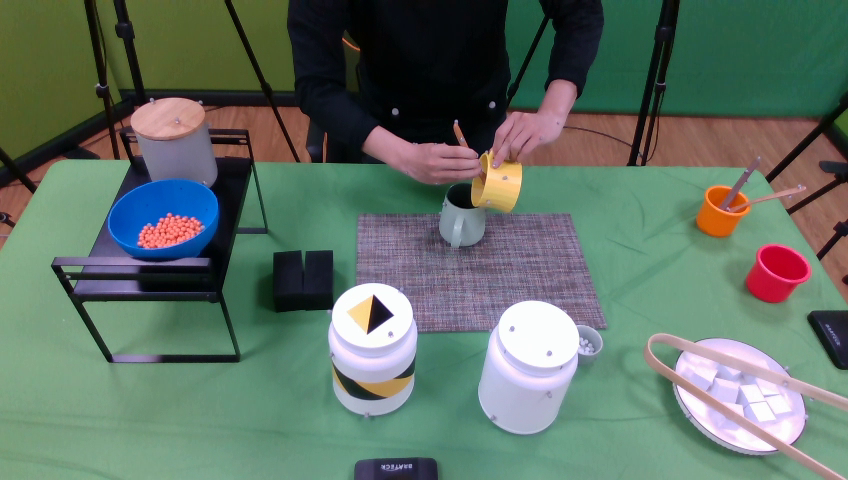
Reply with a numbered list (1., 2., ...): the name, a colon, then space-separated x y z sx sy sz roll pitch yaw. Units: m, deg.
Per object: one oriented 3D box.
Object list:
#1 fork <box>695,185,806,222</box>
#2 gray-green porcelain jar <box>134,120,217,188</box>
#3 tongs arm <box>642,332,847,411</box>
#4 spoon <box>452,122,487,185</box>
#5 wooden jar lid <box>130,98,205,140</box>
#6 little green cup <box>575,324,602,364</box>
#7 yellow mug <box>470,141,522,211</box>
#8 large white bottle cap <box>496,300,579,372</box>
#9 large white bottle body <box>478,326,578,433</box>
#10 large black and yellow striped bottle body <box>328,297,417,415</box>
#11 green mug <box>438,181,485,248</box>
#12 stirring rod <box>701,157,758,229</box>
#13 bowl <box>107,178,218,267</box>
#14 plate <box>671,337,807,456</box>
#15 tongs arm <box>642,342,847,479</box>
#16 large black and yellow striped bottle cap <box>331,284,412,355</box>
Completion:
1. fork: 0.658 -0.074 1.230 0.207 0.019 0.028 -23 36 37
2. gray-green porcelain jar: -0.397 -0.141 0.979 0.106 0.127 0.105 2 47 -2
3. tongs arm: 0.546 0.227 0.968 0.384 0.026 0.050 22 52 13
4. spoon: 0.089 -0.132 1.053 0.021 0.195 0.041 -1 53 37
5. wooden jar lid: -0.393 -0.183 0.934 0.108 0.021 0.107 2 43 -2
6. little green cup: 0.269 0.179 1.036 0.061 0.039 0.061 3 46 -2
7. yellow mug: 0.133 -0.120 1.095 0.064 0.131 0.099 10 31 -12
8. large white bottle cap: 0.160 0.133 0.852 0.115 0.018 0.114 3 46 -2
9. large white bottle body: 0.156 0.192 0.913 0.131 0.185 0.130 2 46 -2
10. large black and yellow striped bottle body: -0.078 0.167 0.920 0.131 0.185 0.130 2 46 -2
11. green mug: 0.071 -0.039 1.178 0.092 0.105 0.124 12 47 7
12. stirring rod: 0.634 -0.097 1.257 0.014 0.006 0.176 38 97 29
13. bowl: -0.374 -0.014 0.893 0.151 0.077 0.150 2 46 -2
14. plate: 0.504 0.254 0.984 0.208 0.039 0.206 2 46 -2
15. tongs arm: 0.504 0.278 0.918 0.386 0.028 0.028 33 59 22
16. large black and yellow striped bottle cap: -0.073 0.111 0.858 0.115 0.019 0.114 2 46 -2
